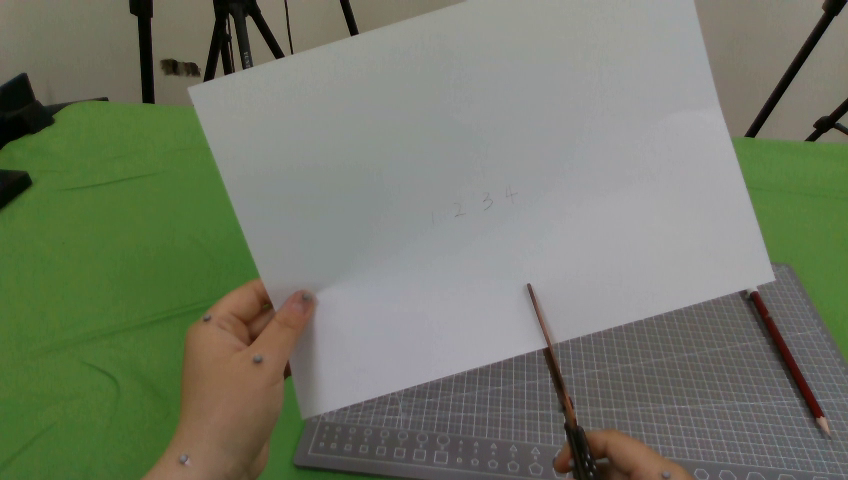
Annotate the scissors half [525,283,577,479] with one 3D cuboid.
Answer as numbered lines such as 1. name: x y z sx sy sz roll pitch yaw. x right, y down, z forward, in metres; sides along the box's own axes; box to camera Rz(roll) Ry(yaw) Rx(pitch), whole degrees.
1. scissors half: 0.086 0.111 0.371 0.013 0.175 0.040 -16 1 -2

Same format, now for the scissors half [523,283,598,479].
1. scissors half: 0.085 0.107 0.350 0.013 0.040 0.174 -17 72 3

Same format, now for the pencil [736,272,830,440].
1. pencil: 0.316 0.094 0.539 0.012 0.012 0.192 2 38 2
